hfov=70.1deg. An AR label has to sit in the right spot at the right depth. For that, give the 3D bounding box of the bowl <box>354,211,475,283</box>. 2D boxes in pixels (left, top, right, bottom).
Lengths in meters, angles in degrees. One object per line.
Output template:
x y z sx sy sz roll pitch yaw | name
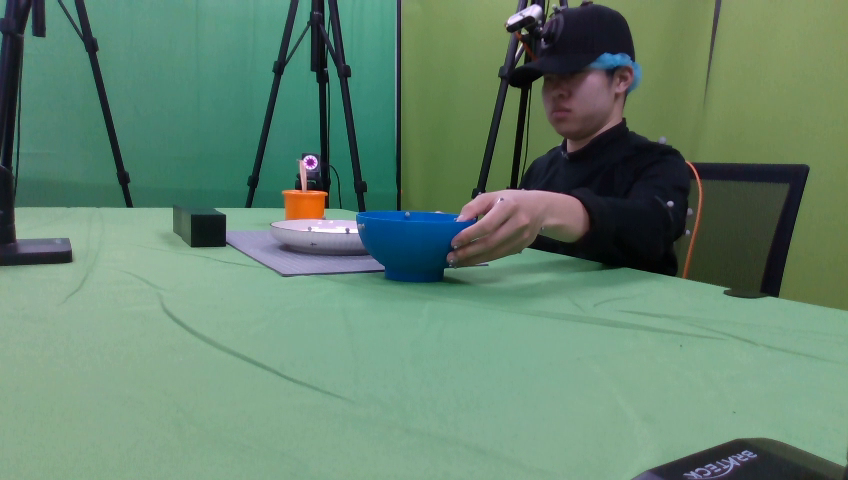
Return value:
-0.013 0.008 0.749 0.151 0.077 0.151 2 7 0 | bowl

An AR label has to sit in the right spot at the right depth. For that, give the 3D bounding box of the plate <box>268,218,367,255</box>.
-0.140 -0.006 0.958 0.209 0.038 0.209 3 7 0 | plate

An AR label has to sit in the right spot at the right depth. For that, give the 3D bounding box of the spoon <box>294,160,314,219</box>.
-0.253 -0.102 1.270 0.042 0.193 0.021 3 -38 -17 | spoon

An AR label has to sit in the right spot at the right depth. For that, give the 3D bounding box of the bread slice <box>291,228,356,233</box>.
-0.143 -0.003 0.953 0.135 0.018 0.106 -1 8 -37 | bread slice
